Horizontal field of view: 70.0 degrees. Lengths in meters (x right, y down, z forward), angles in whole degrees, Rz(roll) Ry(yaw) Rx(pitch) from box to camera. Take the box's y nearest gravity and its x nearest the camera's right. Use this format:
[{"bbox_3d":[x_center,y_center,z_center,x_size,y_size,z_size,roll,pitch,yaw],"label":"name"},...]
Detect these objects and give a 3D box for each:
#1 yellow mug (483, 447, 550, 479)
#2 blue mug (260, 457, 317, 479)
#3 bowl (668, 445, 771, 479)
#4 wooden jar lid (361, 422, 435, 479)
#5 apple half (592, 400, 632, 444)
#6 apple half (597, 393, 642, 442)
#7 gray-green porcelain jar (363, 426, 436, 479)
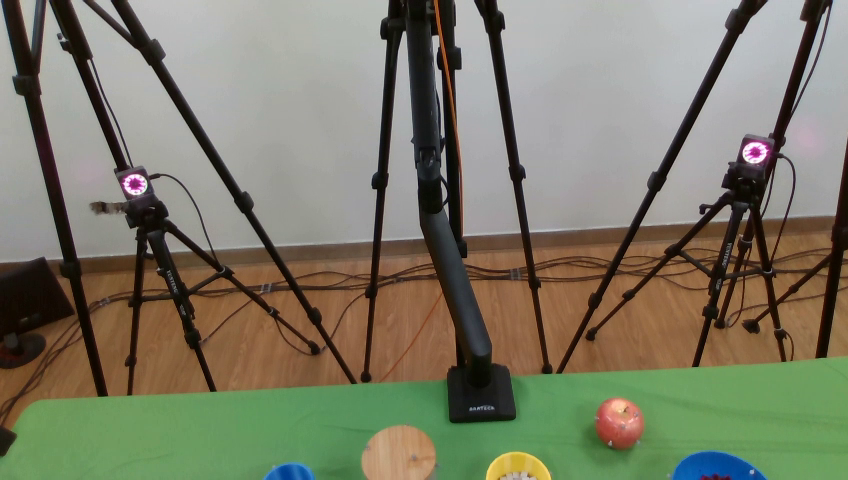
[{"bbox_3d":[0.128,0.388,0.935,0.131,0.064,0.099,-18,40,-17],"label":"yellow mug"},{"bbox_3d":[-0.213,0.400,0.914,0.117,0.107,0.081,-20,41,-19],"label":"blue mug"},{"bbox_3d":[0.432,0.391,0.894,0.151,0.077,0.150,-3,38,2],"label":"bowl"},{"bbox_3d":[-0.038,0.317,0.888,0.108,0.021,0.107,-3,36,2],"label":"wooden jar lid"},{"bbox_3d":[0.304,0.312,1.008,0.033,0.082,0.080,-21,41,-28],"label":"apple half"},{"bbox_3d":[0.336,0.298,1.026,0.053,0.075,0.080,-20,37,-27],"label":"apple half"},{"bbox_3d":[-0.034,0.366,0.927,0.106,0.127,0.105,-2,38,2],"label":"gray-green porcelain jar"}]
